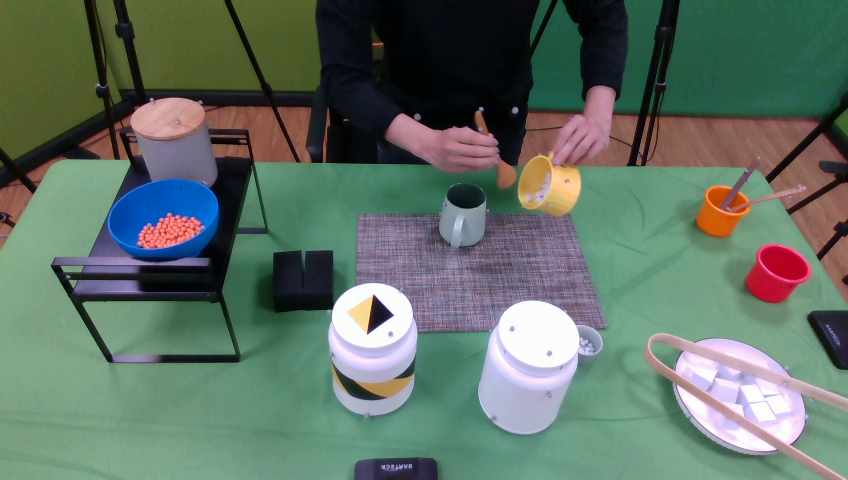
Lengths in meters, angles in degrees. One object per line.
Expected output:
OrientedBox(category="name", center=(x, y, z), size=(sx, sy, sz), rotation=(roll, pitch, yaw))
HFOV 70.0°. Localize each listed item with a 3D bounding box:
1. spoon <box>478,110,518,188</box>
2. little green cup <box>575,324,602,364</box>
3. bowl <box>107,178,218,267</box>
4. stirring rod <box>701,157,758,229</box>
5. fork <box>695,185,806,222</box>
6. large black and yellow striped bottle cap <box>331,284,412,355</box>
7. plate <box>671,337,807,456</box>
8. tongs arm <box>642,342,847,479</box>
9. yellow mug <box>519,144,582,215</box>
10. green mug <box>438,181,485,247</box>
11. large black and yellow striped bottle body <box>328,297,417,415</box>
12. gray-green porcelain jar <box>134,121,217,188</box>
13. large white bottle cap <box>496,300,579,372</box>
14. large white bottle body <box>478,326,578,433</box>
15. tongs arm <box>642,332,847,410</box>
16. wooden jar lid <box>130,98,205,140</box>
OrientedBox(category="spoon", center=(0.121, -0.149, 1.017), size=(0.041, 0.195, 0.021), rotation=(-40, 47, -3))
OrientedBox(category="little green cup", center=(0.269, 0.180, 1.036), size=(0.061, 0.039, 0.061), rotation=(2, 46, -2))
OrientedBox(category="bowl", center=(-0.374, -0.014, 0.893), size=(0.151, 0.077, 0.150), rotation=(2, 46, -2))
OrientedBox(category="stirring rod", center=(0.634, -0.097, 1.257), size=(0.014, 0.006, 0.176), rotation=(38, 97, 30))
OrientedBox(category="fork", center=(0.658, -0.074, 1.230), size=(0.207, 0.019, 0.028), rotation=(-23, 36, 37))
OrientedBox(category="large black and yellow striped bottle cap", center=(-0.073, 0.110, 0.858), size=(0.115, 0.019, 0.114), rotation=(2, 46, -2))
OrientedBox(category="plate", center=(0.504, 0.254, 0.984), size=(0.208, 0.039, 0.206), rotation=(2, 46, -2))
OrientedBox(category="tongs arm", center=(0.504, 0.279, 0.918), size=(0.386, 0.028, 0.028), rotation=(33, 59, 22))
OrientedBox(category="yellow mug", center=(0.234, -0.113, 1.095), size=(0.064, 0.131, 0.099), rotation=(12, 26, -29))
OrientedBox(category="green mug", center=(0.072, -0.039, 1.178), size=(0.092, 0.105, 0.124), rotation=(12, 47, 7))
OrientedBox(category="large black and yellow striped bottle body", center=(-0.078, 0.167, 0.920), size=(0.131, 0.185, 0.130), rotation=(2, 46, -2))
OrientedBox(category="gray-green porcelain jar", center=(-0.396, -0.141, 0.979), size=(0.106, 0.127, 0.105), rotation=(2, 47, -2))
OrientedBox(category="large white bottle cap", center=(0.160, 0.133, 0.852), size=(0.115, 0.018, 0.114), rotation=(3, 46, -2))
OrientedBox(category="large white bottle body", center=(0.156, 0.192, 0.913), size=(0.131, 0.185, 0.130), rotation=(2, 46, -2))
OrientedBox(category="tongs arm", center=(0.546, 0.227, 0.968), size=(0.384, 0.026, 0.050), rotation=(22, 52, 13))
OrientedBox(category="wooden jar lid", center=(-0.393, -0.183, 0.934), size=(0.108, 0.021, 0.107), rotation=(3, 43, -2))
